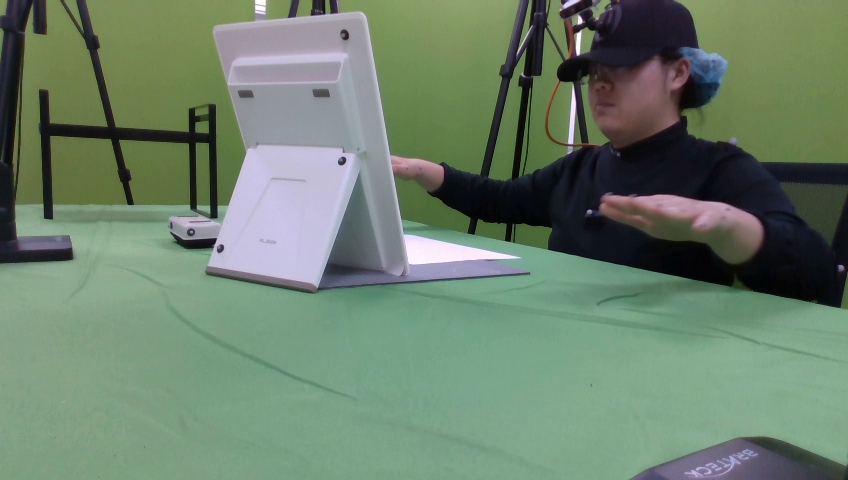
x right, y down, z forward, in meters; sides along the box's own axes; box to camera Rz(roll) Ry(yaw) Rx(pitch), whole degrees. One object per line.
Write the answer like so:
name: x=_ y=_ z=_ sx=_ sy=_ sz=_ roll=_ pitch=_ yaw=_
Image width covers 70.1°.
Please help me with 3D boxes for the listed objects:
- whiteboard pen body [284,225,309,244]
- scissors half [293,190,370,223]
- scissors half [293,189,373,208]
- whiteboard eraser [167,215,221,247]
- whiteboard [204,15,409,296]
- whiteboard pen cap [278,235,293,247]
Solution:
whiteboard pen body: x=-0.208 y=-0.008 z=0.985 sx=0.017 sy=0.017 sz=0.141 roll=3 pitch=9 yaw=1
scissors half: x=-0.205 y=-0.078 z=1.338 sx=0.175 sy=0.040 sz=0.013 roll=22 pitch=12 yaw=-8
scissors half: x=-0.200 y=-0.097 z=1.332 sx=0.175 sy=0.040 sz=0.013 roll=5 pitch=19 yaw=-4
whiteboard eraser: x=-0.350 y=-0.014 z=0.920 sx=0.056 sy=0.042 sz=0.112 roll=0 pitch=7 yaw=-35
whiteboard: x=-0.166 y=-0.072 z=0.669 sx=0.216 sy=0.305 sz=0.144 roll=8 pitch=30 yaw=30
whiteboard pen cap: x=-0.211 y=0.001 z=0.928 sx=0.018 sy=0.018 sz=0.033 roll=3 pitch=6 yaw=1
